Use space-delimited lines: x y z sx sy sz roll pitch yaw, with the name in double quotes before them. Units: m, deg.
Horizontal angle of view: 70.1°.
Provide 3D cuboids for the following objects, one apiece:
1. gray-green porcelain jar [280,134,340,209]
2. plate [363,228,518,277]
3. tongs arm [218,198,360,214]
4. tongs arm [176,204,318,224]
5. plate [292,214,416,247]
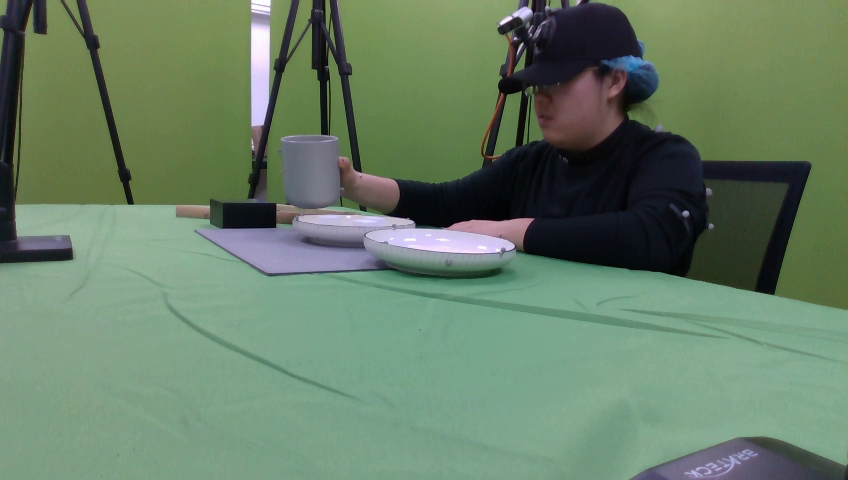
"gray-green porcelain jar" -0.211 -0.128 1.124 0.106 0.126 0.106 0 17 0
"plate" 0.021 0.016 0.817 0.209 0.038 0.209 4 9 0
"tongs arm" -0.313 -0.064 1.353 0.384 0.026 0.051 6 8 17
"tongs arm" -0.332 -0.052 1.273 0.387 0.028 0.028 4 5 4
"plate" -0.118 -0.017 1.024 0.208 0.039 0.207 2 8 0
